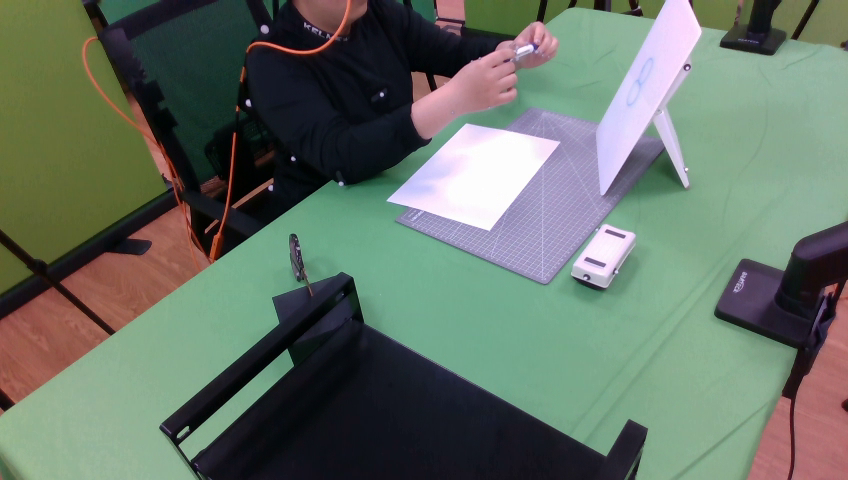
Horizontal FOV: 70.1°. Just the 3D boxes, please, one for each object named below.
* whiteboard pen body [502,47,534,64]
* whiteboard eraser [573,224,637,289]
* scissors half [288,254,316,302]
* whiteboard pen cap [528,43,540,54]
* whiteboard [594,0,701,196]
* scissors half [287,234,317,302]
[{"bbox_3d":[0.174,-0.332,1.083,0.017,0.017,0.141,16,30,26],"label":"whiteboard pen body"},{"bbox_3d":[0.267,0.025,0.891,0.055,0.042,0.113,19,47,31],"label":"whiteboard eraser"},{"bbox_3d":[-0.178,0.058,0.894,0.013,0.040,0.174,-16,21,-17],"label":"scissors half"},{"bbox_3d":[0.203,-0.356,1.128,0.018,0.018,0.033,15,33,25],"label":"whiteboard pen cap"},{"bbox_3d":[0.420,-0.227,1.010,0.144,0.305,0.216,18,42,-2],"label":"whiteboard"},{"bbox_3d":[-0.179,0.040,0.885,0.013,0.040,0.173,-11,36,-20],"label":"scissors half"}]
